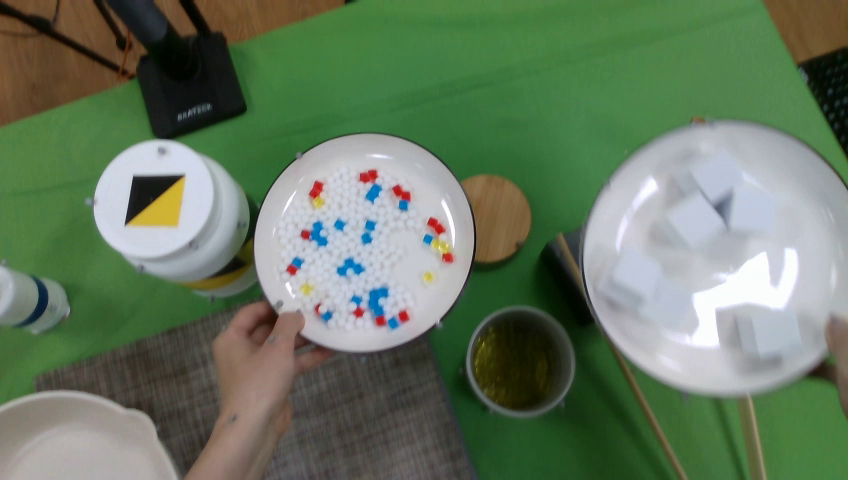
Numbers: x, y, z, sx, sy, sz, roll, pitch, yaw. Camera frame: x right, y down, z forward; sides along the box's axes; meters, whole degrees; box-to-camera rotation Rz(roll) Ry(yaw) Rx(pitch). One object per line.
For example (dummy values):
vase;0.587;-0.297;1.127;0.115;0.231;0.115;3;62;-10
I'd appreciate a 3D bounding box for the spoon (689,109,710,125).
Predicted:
spoon;0.340;-0.083;0.669;0.196;0.021;0.041;38;82;-35

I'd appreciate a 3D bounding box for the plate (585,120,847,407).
plate;0.221;0.017;0.453;0.208;0.039;0.207;0;90;1

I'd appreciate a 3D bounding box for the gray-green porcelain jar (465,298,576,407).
gray-green porcelain jar;0.096;0.121;0.641;0.106;0.127;0.105;0;77;2

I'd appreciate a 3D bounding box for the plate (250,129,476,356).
plate;-0.055;0.001;0.561;0.209;0.038;0.208;-1;80;7

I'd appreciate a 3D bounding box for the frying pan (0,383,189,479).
frying pan;-0.302;0.359;0.611;0.485;0.103;0.306;37;82;18

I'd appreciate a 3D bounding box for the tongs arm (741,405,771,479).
tongs arm;0.327;0.120;0.651;0.028;0.028;0.387;-10;88;-7

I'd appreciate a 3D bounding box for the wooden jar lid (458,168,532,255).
wooden jar lid;0.075;-0.034;0.731;0.108;0.021;0.108;0;79;2

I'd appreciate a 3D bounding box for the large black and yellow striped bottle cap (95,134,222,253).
large black and yellow striped bottle cap;-0.252;-0.045;0.574;0.115;0.019;0.114;0;79;2

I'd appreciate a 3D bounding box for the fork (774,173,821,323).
fork;0.396;0.012;0.642;0.028;0.018;0.209;-30;122;4

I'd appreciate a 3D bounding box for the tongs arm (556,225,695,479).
tongs arm;0.247;0.149;0.647;0.051;0.026;0.384;-25;88;-5

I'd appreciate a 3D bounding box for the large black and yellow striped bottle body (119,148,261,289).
large black and yellow striped bottle body;-0.249;-0.024;0.656;0.131;0.185;0.130;0;77;2

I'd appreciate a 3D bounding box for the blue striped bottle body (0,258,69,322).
blue striped bottle body;-0.463;0.056;0.678;0.063;0.121;0.063;0;77;2

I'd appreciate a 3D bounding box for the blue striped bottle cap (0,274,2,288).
blue striped bottle cap;-0.465;0.045;0.627;0.044;0.021;0.044;-1;75;5
